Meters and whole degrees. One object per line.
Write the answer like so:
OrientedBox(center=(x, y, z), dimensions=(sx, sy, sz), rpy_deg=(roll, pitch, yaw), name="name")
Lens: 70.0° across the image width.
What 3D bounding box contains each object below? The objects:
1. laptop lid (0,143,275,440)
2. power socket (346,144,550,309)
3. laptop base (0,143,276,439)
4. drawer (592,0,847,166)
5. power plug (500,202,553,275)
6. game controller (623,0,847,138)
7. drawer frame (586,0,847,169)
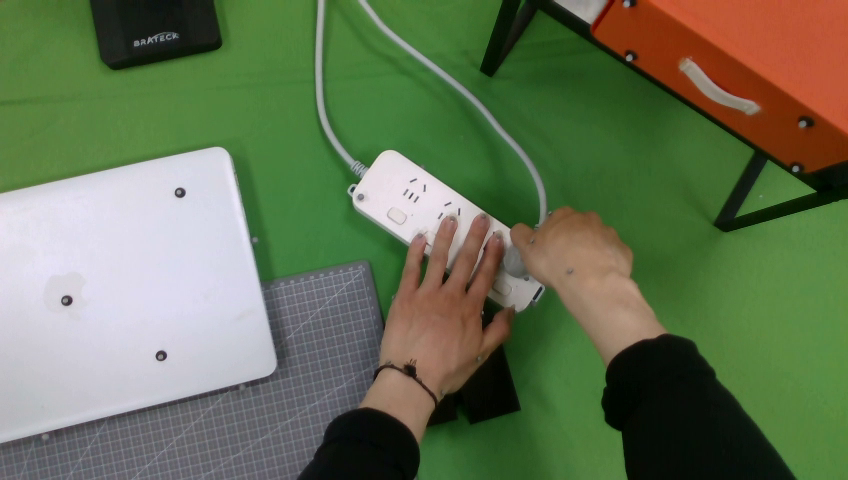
OrientedBox(center=(-0.341, 0.054, 0.579), dimensions=(0.357, 0.013, 0.241), rpy_deg=(-12, 87, -5), name="laptop lid")
OrientedBox(center=(0.026, -0.013, 0.614), dimensions=(0.226, 0.032, 0.072), rpy_deg=(35, 83, 1), name="power socket")
OrientedBox(center=(-0.341, 0.053, 0.591), dimensions=(0.355, 0.023, 0.235), rpy_deg=(-14, 88, -5), name="laptop base")
OrientedBox(center=(0.263, -0.194, 0.444), dimensions=(0.194, 0.073, 0.211), rpy_deg=(33, 83, 0), name="drawer")
OrientedBox(center=(0.106, 0.003, 0.594), dimensions=(0.072, 0.053, 0.035), rpy_deg=(-44, 88, -6), name="power plug")
OrientedBox(center=(0.239, -0.157, 0.452), dimensions=(0.155, 0.051, 0.097), rpy_deg=(37, 87, 3), name="game controller")
OrientedBox(center=(0.262, -0.197, 0.443), dimensions=(0.201, 0.083, 0.213), rpy_deg=(33, 83, 0), name="drawer frame")
